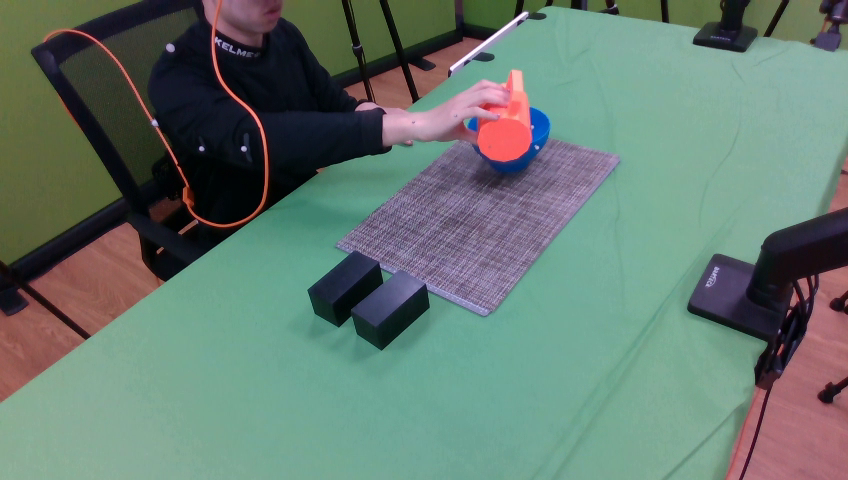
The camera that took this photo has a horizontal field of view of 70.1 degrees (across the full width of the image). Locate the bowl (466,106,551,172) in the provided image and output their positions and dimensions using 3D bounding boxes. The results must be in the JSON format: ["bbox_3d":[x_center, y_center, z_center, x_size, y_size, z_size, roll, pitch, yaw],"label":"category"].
[{"bbox_3d":[0.155,-0.178,1.105,0.151,0.077,0.150,-4,40,4],"label":"bowl"}]

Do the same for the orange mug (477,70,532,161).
[{"bbox_3d":[0.134,-0.205,0.974,0.084,0.126,0.100,10,41,-6],"label":"orange mug"}]
